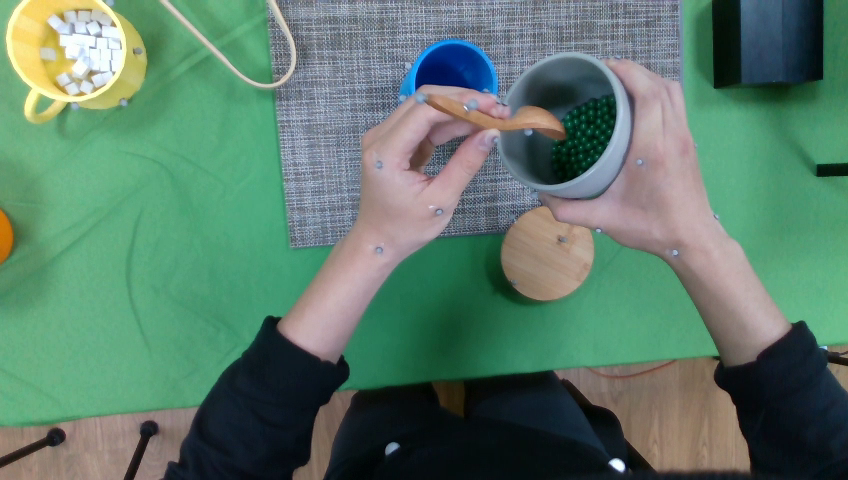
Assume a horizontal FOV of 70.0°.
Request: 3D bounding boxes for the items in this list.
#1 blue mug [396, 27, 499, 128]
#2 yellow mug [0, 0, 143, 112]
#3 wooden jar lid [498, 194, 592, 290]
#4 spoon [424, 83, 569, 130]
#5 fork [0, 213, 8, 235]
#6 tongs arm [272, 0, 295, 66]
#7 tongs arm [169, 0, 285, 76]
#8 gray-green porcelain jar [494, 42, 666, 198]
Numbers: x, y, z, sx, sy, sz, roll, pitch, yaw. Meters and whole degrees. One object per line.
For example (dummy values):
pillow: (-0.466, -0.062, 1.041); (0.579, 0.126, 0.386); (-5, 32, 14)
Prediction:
blue mug: (0.033, -0.149, 0.600); (0.117, 0.105, 0.082); (22, 93, -11)
yellow mug: (-0.331, -0.173, 0.561); (0.100, 0.063, 0.131); (35, 92, -12)
wooden jar lid: (0.135, 0.002, 0.682); (0.108, 0.020, 0.108); (-2, 101, -8)
spoon: (0.054, -0.087, 0.404); (0.041, 0.194, 0.022); (32, 114, 24)
fork: (-0.477, -0.019, 0.515); (0.209, 0.018, 0.028); (3, 98, -53)
tongs arm: (-0.212, -0.347, 0.554); (0.028, 0.027, 0.390); (-31, 108, -12)
tongs arm: (-0.279, -0.296, 0.548); (0.051, 0.026, 0.387); (-43, 109, -5)
gray-green porcelain jar: (0.135, -0.092, 0.504); (0.127, 0.105, 0.106); (7, 98, -51)
